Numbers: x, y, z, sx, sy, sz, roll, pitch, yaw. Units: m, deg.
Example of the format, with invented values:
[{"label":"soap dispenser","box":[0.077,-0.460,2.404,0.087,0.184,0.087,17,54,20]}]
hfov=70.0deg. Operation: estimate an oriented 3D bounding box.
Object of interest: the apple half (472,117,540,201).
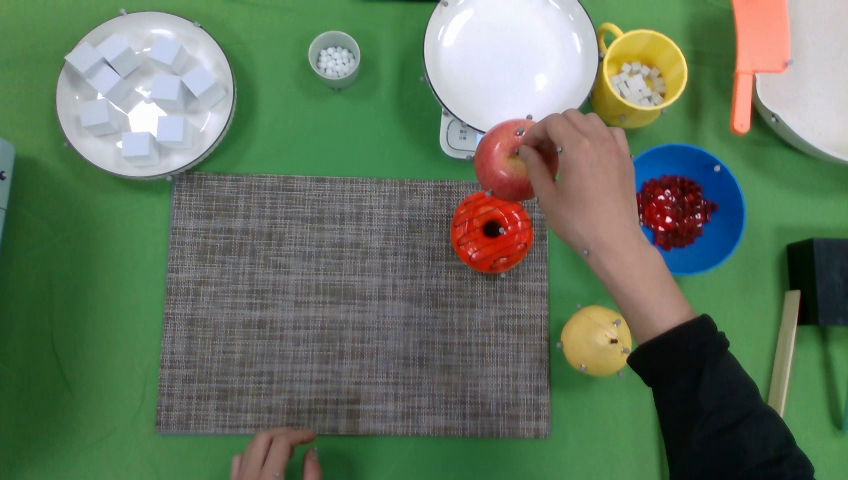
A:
[{"label":"apple half","box":[0.074,-0.081,0.585,0.053,0.074,0.081,13,89,-6]}]

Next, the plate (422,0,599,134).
[{"label":"plate","box":[0.101,-0.218,0.720,0.209,0.038,0.208,0,82,-3]}]

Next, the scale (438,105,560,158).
[{"label":"scale","box":[0.099,-0.198,0.750,0.149,0.031,0.200,6,82,-1]}]

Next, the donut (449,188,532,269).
[{"label":"donut","box":[0.077,-0.014,0.713,0.099,0.048,0.098,0,82,0]}]

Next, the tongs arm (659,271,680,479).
[{"label":"tongs arm","box":[0.303,0.228,0.696,0.051,0.026,0.383,1,83,-5]}]

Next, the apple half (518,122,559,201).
[{"label":"apple half","box":[0.112,-0.073,0.590,0.033,0.081,0.081,13,81,-6]}]

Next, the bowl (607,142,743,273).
[{"label":"bowl","box":[0.280,-0.032,0.711,0.151,0.077,0.151,0,82,-2]}]

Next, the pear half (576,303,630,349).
[{"label":"pear half","box":[0.207,0.091,0.684,0.070,0.088,0.031,32,82,6]}]

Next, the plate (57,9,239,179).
[{"label":"plate","box":[-0.324,-0.171,0.726,0.208,0.039,0.207,0,82,-2]}]

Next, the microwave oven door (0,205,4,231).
[{"label":"microwave oven door","box":[-0.505,0.116,0.555,0.039,0.244,0.354,4,81,-1]}]

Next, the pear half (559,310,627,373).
[{"label":"pear half","box":[0.186,0.118,0.669,0.076,0.110,0.056,33,82,7]}]

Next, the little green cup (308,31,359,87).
[{"label":"little green cup","box":[-0.108,-0.219,0.741,0.061,0.039,0.061,0,81,-2]}]

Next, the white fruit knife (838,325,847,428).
[{"label":"white fruit knife","box":[0.496,0.121,0.697,0.016,0.027,0.207,-1,96,-2]}]

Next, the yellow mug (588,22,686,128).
[{"label":"yellow mug","box":[0.249,-0.209,0.740,0.100,0.064,0.130,-31,83,-5]}]

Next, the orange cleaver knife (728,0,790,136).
[{"label":"orange cleaver knife","box":[0.391,-0.223,0.711,0.077,0.012,0.210,6,82,1]}]

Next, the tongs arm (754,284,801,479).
[{"label":"tongs arm","box":[0.389,0.237,0.700,0.028,0.028,0.386,16,83,-6]}]

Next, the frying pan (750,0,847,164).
[{"label":"frying pan","box":[0.572,-0.137,0.724,0.307,0.103,0.485,-25,76,-5]}]

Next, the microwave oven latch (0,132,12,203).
[{"label":"microwave oven latch","box":[-0.493,-0.084,0.687,0.030,0.029,0.079,6,82,-2]}]
